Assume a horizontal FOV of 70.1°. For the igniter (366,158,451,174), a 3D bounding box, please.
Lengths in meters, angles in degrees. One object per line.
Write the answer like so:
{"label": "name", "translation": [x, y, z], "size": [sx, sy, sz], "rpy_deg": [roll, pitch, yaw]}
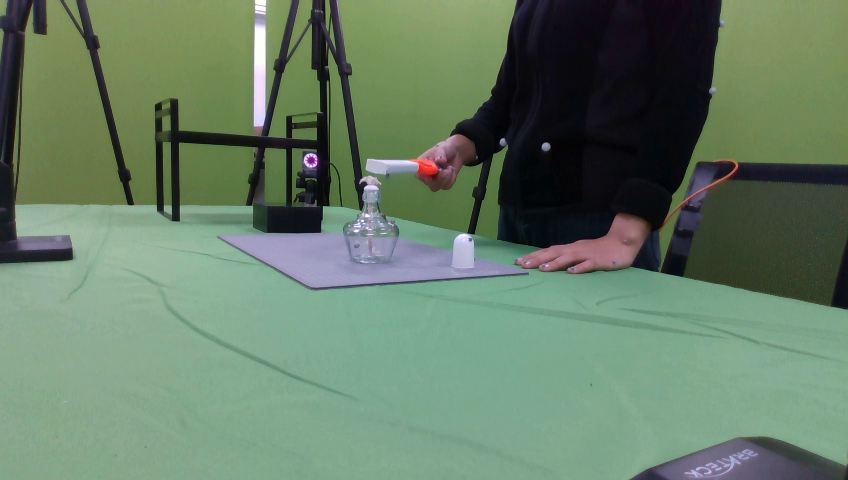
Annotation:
{"label": "igniter", "translation": [-0.016, -0.116, 0.957], "size": [0.057, 0.025, 0.277], "rpy_deg": [15, 11, 19]}

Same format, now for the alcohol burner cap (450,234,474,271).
{"label": "alcohol burner cap", "translation": [0.053, 0.015, 0.809], "size": [0.034, 0.048, 0.034], "rpy_deg": [5, 9, 0]}

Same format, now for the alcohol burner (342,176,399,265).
{"label": "alcohol burner", "translation": [-0.072, -0.027, 0.818], "size": [0.078, 0.119, 0.078], "rpy_deg": [1, 6, 0]}
